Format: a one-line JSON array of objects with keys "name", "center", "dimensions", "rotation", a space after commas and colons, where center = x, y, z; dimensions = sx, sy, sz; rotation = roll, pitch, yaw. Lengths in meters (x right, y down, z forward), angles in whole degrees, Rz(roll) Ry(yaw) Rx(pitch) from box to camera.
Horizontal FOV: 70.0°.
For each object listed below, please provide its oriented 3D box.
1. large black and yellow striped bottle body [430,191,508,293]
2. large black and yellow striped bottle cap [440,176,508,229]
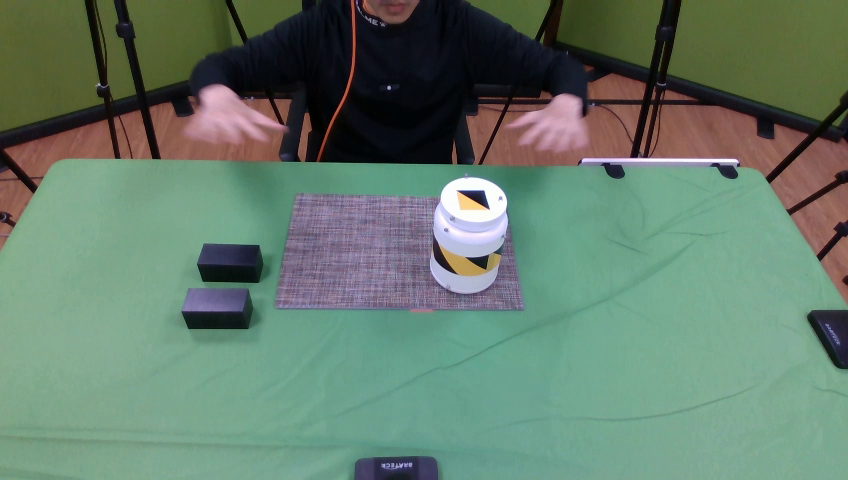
[{"name": "large black and yellow striped bottle body", "center": [0.080, -0.008, 1.092], "dimensions": [0.131, 0.185, 0.130], "rotation": [2, 46, -2]}, {"name": "large black and yellow striped bottle cap", "center": [0.085, -0.066, 1.032], "dimensions": [0.115, 0.019, 0.114], "rotation": [1, 47, -1]}]
